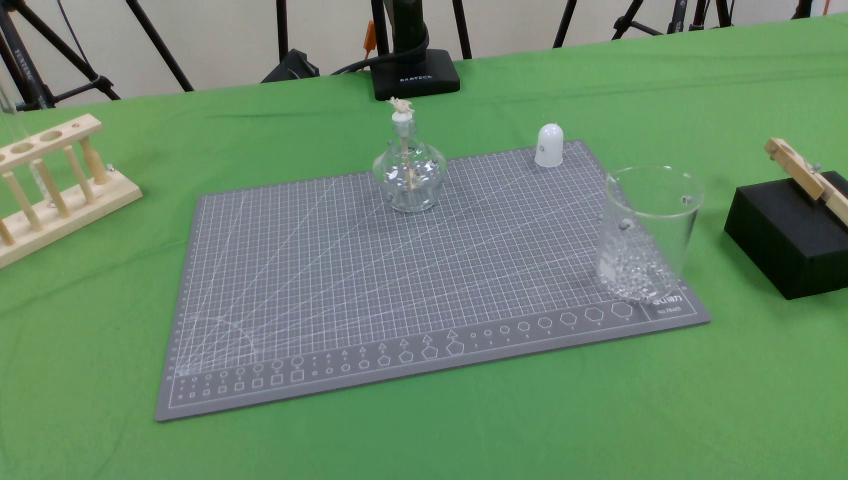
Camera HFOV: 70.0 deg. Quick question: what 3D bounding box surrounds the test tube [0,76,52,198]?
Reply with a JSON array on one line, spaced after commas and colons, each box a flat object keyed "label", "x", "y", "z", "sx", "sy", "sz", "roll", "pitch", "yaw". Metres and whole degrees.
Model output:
[{"label": "test tube", "x": -0.410, "y": -0.106, "z": 0.615, "sx": 0.017, "sy": 0.151, "sz": 0.017, "roll": -1, "pitch": 39, "yaw": 1}]

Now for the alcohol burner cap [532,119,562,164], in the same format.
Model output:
[{"label": "alcohol burner cap", "x": 0.139, "y": -0.113, "z": 0.681, "sx": 0.034, "sy": 0.048, "sz": 0.033, "roll": -2, "pitch": 41, "yaw": 2}]

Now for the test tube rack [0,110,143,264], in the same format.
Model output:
[{"label": "test tube rack", "x": -0.428, "y": -0.038, "z": 0.614, "sx": 0.066, "sy": 0.086, "sz": 0.242, "roll": 30, "pitch": 51, "yaw": 33}]

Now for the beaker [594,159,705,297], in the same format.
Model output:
[{"label": "beaker", "x": 0.182, "y": -0.008, "z": 0.512, "sx": 0.074, "sy": 0.101, "sz": 0.083, "roll": -30, "pitch": 46, "yaw": -26}]

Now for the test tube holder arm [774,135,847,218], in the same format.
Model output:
[{"label": "test tube holder arm", "x": 0.354, "y": -0.042, "z": 0.528, "sx": 0.013, "sy": 0.015, "sz": 0.176, "roll": -4, "pitch": 40, "yaw": -9}]

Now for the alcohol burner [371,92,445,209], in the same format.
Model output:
[{"label": "alcohol burner", "x": -0.018, "y": -0.093, "z": 0.616, "sx": 0.078, "sy": 0.120, "sz": 0.077, "roll": -4, "pitch": 40, "yaw": 4}]

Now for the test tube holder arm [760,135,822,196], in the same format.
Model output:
[{"label": "test tube holder arm", "x": 0.341, "y": -0.070, "z": 0.561, "sx": 0.010, "sy": 0.015, "sz": 0.087, "roll": -4, "pitch": 40, "yaw": -8}]
